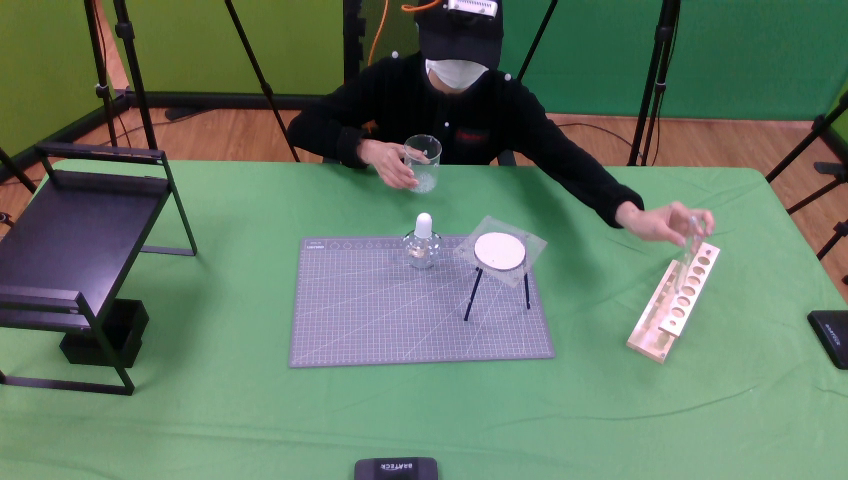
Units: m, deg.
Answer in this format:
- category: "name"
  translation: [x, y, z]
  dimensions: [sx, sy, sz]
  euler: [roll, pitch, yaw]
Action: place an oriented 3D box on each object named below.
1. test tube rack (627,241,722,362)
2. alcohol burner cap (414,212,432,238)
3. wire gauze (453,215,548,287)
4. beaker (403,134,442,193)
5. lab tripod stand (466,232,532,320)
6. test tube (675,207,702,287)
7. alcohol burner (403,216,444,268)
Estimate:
- category: "test tube rack"
  translation: [0.452, 0.098, 1.087]
  dimensions: [0.066, 0.085, 0.242]
  euler: [28, 51, 22]
- category: "alcohol burner cap"
  translation: [0.000, -0.030, 1.107]
  dimensions: [0.034, 0.048, 0.033]
  euler: [4, 41, -3]
- category: "wire gauze"
  translation: [0.129, 0.012, 1.017]
  dimensions: [0.124, 0.011, 0.121]
  euler: [28, 50, 23]
- category: "beaker"
  translation: [-0.004, -0.151, 1.206]
  dimensions: [0.074, 0.101, 0.083]
  euler: [22, 53, 13]
- category: "lab tripod stand"
  translation: [0.125, 0.059, 1.065]
  dimensions: [0.148, 0.132, 0.147]
  euler: [1, 45, 0]
- category: "test tube"
  translation: [0.416, 0.015, 0.958]
  dimensions: [0.017, 0.151, 0.017]
  euler: [-3, 35, 2]
- category: "alcohol burner"
  translation: [-0.001, -0.004, 1.132]
  dimensions: [0.078, 0.120, 0.077]
  euler: [1, 46, -1]
